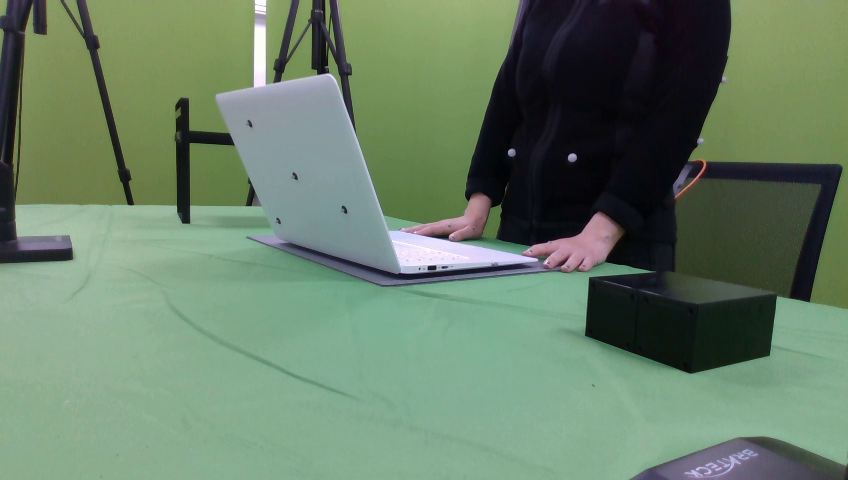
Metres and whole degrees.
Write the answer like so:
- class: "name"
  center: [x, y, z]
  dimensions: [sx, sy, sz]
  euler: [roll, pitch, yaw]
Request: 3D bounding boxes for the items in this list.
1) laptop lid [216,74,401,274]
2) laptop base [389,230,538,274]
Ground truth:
- class: "laptop lid"
  center: [-0.164, -0.085, 0.781]
  dimensions: [0.013, 0.242, 0.355]
  euler: [-32, 27, -30]
- class: "laptop base"
  center: [-0.037, 0.014, 0.895]
  dimensions: [0.237, 0.023, 0.352]
  euler: [1, 7, -38]
